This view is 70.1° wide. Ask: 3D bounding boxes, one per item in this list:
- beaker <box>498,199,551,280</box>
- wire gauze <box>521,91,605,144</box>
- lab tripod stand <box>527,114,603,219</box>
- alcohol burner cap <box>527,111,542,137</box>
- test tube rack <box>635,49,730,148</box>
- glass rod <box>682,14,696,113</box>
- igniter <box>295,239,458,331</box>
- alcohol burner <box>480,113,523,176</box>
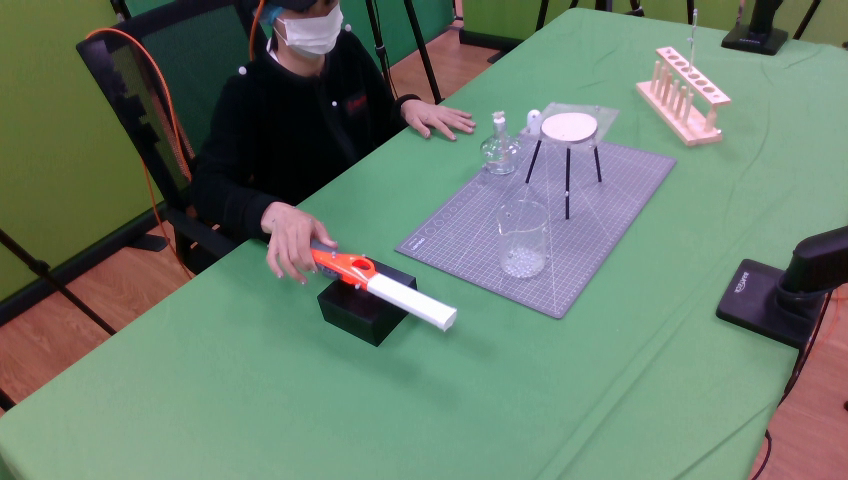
[{"bbox_3d":[0.144,0.003,0.884,0.073,0.101,0.084,28,52,36],"label":"beaker"},{"bbox_3d":[0.219,-0.191,0.948,0.121,0.011,0.125,8,49,13],"label":"wire gauze"},{"bbox_3d":[0.234,-0.129,1.002,0.148,0.132,0.147,-6,40,6],"label":"lab tripod stand"},{"bbox_3d":[0.220,-0.233,1.200,0.034,0.048,0.033,-5,41,5],"label":"alcohol burner cap"},{"bbox_3d":[0.497,-0.283,1.185,0.067,0.085,0.240,-10,40,-2],"label":"test tube rack"},{"bbox_3d":[0.495,-0.326,1.132,0.008,0.201,0.008,-8,42,8],"label":"glass rod"},{"bbox_3d":[-0.076,0.055,0.823,0.274,0.025,0.057,23,42,28],"label":"igniter"},{"bbox_3d":[0.139,-0.176,1.089,0.078,0.119,0.077,-5,42,5],"label":"alcohol burner"}]
